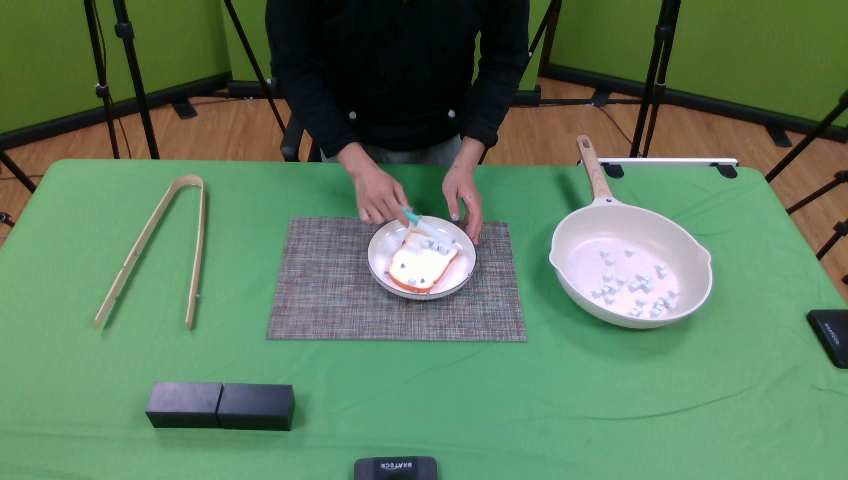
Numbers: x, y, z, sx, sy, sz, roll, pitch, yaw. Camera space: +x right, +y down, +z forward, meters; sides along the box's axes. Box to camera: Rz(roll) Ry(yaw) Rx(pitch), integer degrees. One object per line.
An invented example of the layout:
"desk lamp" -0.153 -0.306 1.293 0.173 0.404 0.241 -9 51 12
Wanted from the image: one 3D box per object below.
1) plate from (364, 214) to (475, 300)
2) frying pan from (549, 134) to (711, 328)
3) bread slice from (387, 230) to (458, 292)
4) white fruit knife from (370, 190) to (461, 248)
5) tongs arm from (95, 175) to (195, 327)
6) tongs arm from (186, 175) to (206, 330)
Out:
"plate" -0.010 0.036 1.147 0.208 0.039 0.206 2 46 -2
"frying pan" 0.372 -0.035 1.203 0.307 0.103 0.484 -1 55 -6
"bread slice" -0.007 0.043 1.142 0.107 0.018 0.134 18 46 14
"white fruit knife" -0.017 -0.040 1.143 0.207 0.027 0.016 32 59 14
"tongs arm" -0.515 0.006 1.142 0.051 0.026 0.382 4 45 -2
"tongs arm" -0.436 0.009 1.151 0.028 0.028 0.385 -7 47 -8
